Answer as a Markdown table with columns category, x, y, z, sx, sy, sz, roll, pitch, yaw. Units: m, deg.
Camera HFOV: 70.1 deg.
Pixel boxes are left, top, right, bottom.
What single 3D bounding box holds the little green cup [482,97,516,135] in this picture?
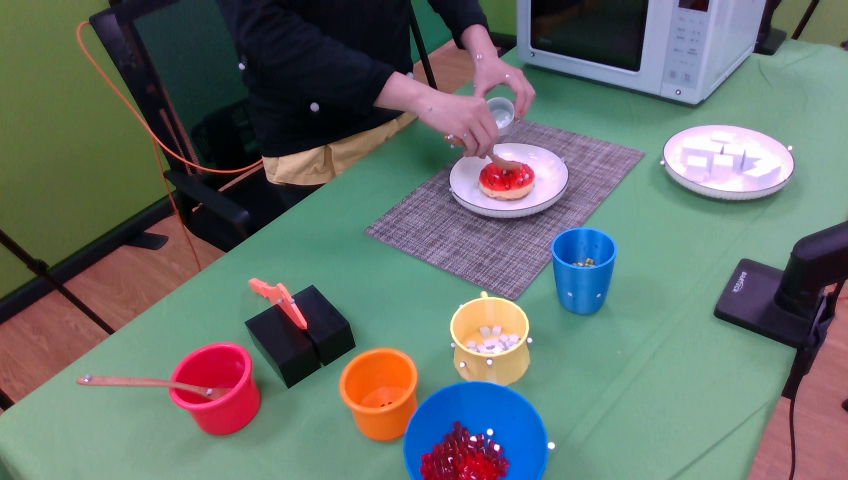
| category | x | y | z | sx | sy | sz | roll | pitch | yaw |
| --- | --- | --- | --- | --- | --- | --- | --- | --- | --- |
| little green cup | 0.133 | -0.218 | 1.074 | 0.061 | 0.039 | 0.061 | -1 | 78 | 5 |

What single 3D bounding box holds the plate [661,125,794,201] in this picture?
| category | x | y | z | sx | sy | sz | roll | pitch | yaw |
| --- | --- | --- | --- | --- | --- | --- | --- | --- | --- |
| plate | 0.513 | -0.128 | 1.035 | 0.207 | 0.039 | 0.206 | -4 | 40 | 4 |

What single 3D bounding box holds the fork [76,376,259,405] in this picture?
| category | x | y | z | sx | sy | sz | roll | pitch | yaw |
| --- | --- | --- | --- | --- | --- | --- | --- | --- | --- |
| fork | -0.295 | 0.176 | 0.716 | 0.209 | 0.018 | 0.028 | 19 | 26 | -36 |

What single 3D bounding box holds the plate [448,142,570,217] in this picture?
| category | x | y | z | sx | sy | sz | roll | pitch | yaw |
| --- | --- | --- | --- | --- | --- | --- | --- | --- | --- |
| plate | 0.148 | -0.101 | 1.053 | 0.209 | 0.038 | 0.208 | -4 | 40 | 4 |

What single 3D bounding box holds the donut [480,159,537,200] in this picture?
| category | x | y | z | sx | sy | sz | roll | pitch | yaw |
| --- | --- | --- | --- | --- | --- | --- | --- | --- | --- |
| donut | 0.145 | -0.106 | 1.042 | 0.099 | 0.048 | 0.098 | -5 | 37 | 4 |

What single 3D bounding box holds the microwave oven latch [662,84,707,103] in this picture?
| category | x | y | z | sx | sy | sz | roll | pitch | yaw |
| --- | --- | --- | --- | --- | --- | --- | --- | --- | --- |
| microwave oven latch | 0.517 | -0.296 | 1.204 | 0.078 | 0.029 | 0.030 | 26 | 51 | 34 |

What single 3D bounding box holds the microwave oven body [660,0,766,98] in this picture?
| category | x | y | z | sx | sy | sz | roll | pitch | yaw |
| --- | --- | --- | --- | --- | --- | --- | --- | --- | --- |
| microwave oven body | 0.473 | -0.513 | 1.317 | 0.438 | 0.261 | 0.327 | 26 | 51 | 34 |

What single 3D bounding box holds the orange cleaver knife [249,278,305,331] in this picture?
| category | x | y | z | sx | sy | sz | roll | pitch | yaw |
| --- | --- | --- | --- | --- | --- | --- | --- | --- | --- |
| orange cleaver knife | -0.210 | 0.088 | 0.856 | 0.012 | 0.077 | 0.210 | -28 | 15 | -25 |

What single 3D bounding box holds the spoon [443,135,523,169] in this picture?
| category | x | y | z | sx | sy | sz | roll | pitch | yaw |
| --- | --- | --- | --- | --- | --- | --- | --- | --- | --- |
| spoon | 0.092 | -0.138 | 0.946 | 0.041 | 0.021 | 0.195 | 8 | -5 | 43 |

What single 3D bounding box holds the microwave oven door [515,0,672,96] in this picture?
| category | x | y | z | sx | sy | sz | roll | pitch | yaw |
| --- | --- | --- | --- | --- | --- | --- | --- | --- | --- |
| microwave oven door | 0.344 | -0.455 | 1.260 | 0.353 | 0.245 | 0.039 | 26 | 51 | 33 |

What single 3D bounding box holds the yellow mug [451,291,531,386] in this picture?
| category | x | y | z | sx | sy | sz | roll | pitch | yaw |
| --- | --- | --- | --- | --- | --- | --- | --- | --- | --- |
| yellow mug | 0.085 | 0.120 | 0.786 | 0.100 | 0.064 | 0.130 | -7 | 39 | 1 |

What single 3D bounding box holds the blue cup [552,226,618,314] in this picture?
| category | x | y | z | sx | sy | sz | roll | pitch | yaw |
| --- | --- | --- | --- | --- | --- | --- | --- | --- | --- |
| blue cup | 0.218 | 0.047 | 0.826 | 0.092 | 0.100 | 0.092 | -6 | 40 | 5 |

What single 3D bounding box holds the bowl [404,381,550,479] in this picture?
| category | x | y | z | sx | sy | sz | roll | pitch | yaw |
| --- | --- | --- | --- | --- | --- | --- | --- | --- | --- |
| bowl | 0.058 | 0.235 | 0.645 | 0.151 | 0.077 | 0.150 | -4 | 39 | 4 |
